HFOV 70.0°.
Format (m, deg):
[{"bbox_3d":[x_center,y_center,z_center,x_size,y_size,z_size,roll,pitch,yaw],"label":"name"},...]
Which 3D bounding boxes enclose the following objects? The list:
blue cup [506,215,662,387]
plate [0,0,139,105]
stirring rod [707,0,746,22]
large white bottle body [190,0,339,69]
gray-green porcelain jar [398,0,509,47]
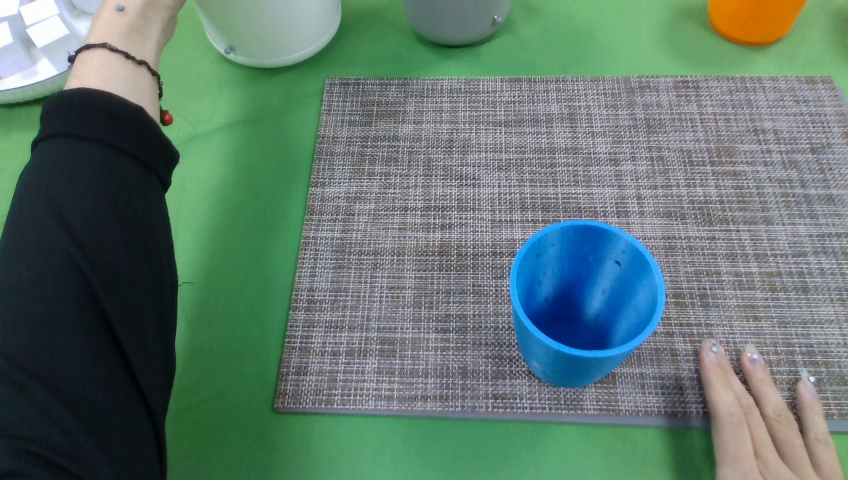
[{"bbox_3d":[0.092,0.049,0.379,0.092,0.101,0.092,-2,60,4],"label":"blue cup"},{"bbox_3d":[-0.375,-0.205,0.582,0.207,0.039,0.206,-1,61,2],"label":"plate"},{"bbox_3d":[0.328,-0.249,0.518,0.176,0.006,0.014,-34,58,32],"label":"stirring rod"},{"bbox_3d":[-0.150,-0.256,0.515,0.130,0.186,0.129,-1,61,2],"label":"large white bottle body"},{"bbox_3d":[0.026,-0.248,0.538,0.106,0.127,0.105,-1,61,2],"label":"gray-green porcelain jar"}]
